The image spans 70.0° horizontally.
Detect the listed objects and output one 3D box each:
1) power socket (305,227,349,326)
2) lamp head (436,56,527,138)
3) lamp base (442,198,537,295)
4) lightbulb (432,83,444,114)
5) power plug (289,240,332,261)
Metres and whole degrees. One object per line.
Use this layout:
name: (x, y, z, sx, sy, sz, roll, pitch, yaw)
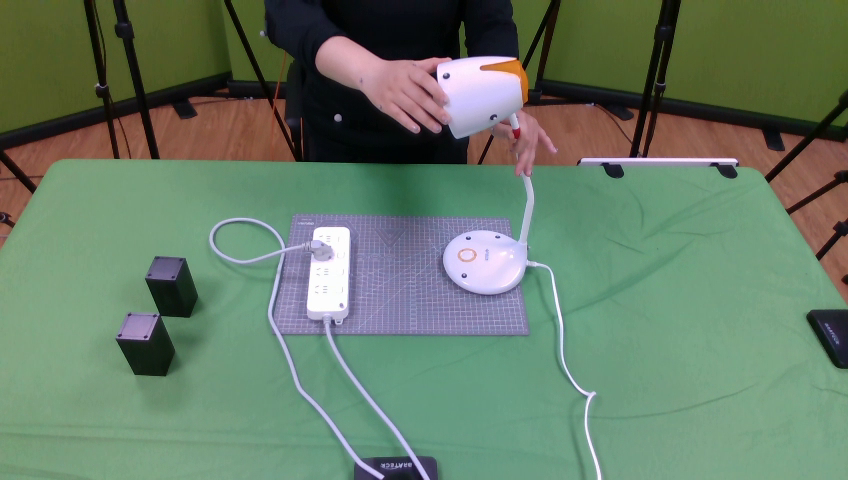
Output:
power socket: (-0.177, 0.058, 1.116, 0.072, 0.033, 0.225, -1, 46, -4)
lamp head: (0.089, -0.213, 0.876, 0.123, 0.113, 0.111, -10, 45, 10)
lamp base: (0.132, -0.013, 1.106, 0.179, 0.181, 0.159, 1, 46, -8)
lightbulb: (0.064, -0.215, 0.880, 0.107, 0.060, 0.059, -6, 42, 21)
power plug: (-0.207, 0.022, 1.123, 0.072, 0.053, 0.035, 5, 44, 6)
